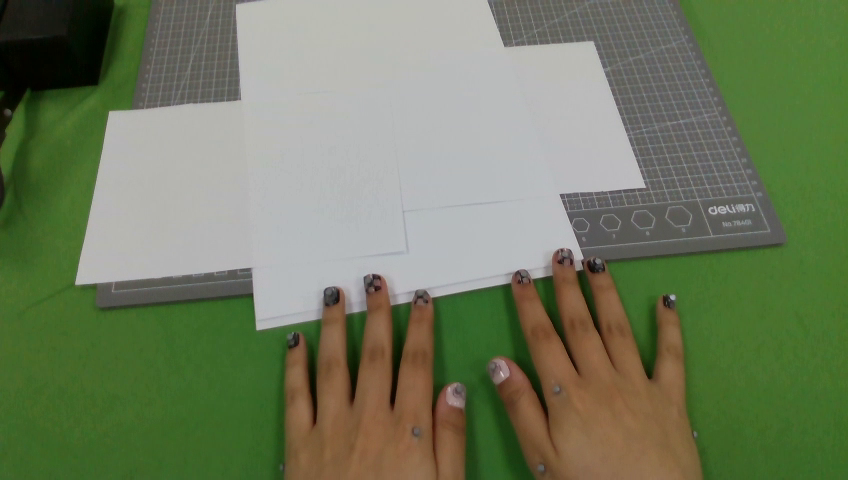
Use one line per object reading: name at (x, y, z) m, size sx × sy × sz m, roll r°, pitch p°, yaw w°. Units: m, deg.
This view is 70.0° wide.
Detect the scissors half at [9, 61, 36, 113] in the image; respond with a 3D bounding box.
scissors half at (-0.303, -0.089, 0.418) m, size 0.013 × 0.040 × 0.173 m, roll -5°, pitch 36°, yaw -4°

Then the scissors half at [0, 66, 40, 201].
scissors half at (-0.301, -0.076, 0.432) m, size 0.013 × 0.040 × 0.173 m, roll -8°, pitch 50°, yaw 0°
